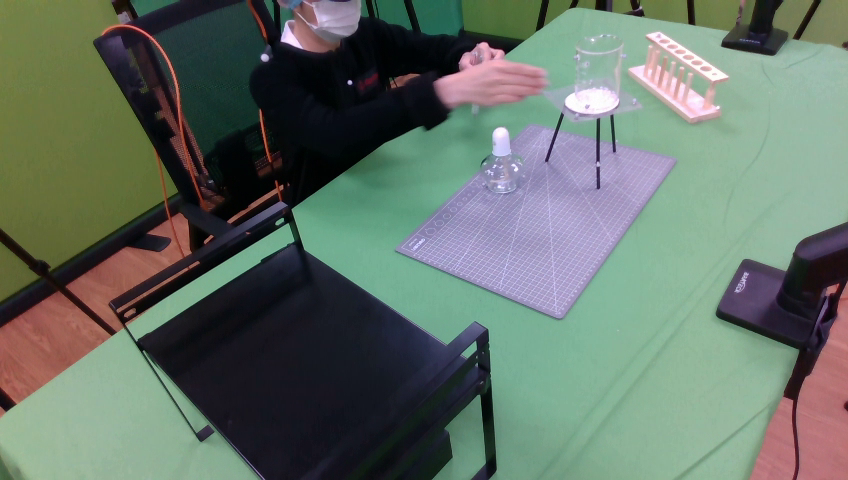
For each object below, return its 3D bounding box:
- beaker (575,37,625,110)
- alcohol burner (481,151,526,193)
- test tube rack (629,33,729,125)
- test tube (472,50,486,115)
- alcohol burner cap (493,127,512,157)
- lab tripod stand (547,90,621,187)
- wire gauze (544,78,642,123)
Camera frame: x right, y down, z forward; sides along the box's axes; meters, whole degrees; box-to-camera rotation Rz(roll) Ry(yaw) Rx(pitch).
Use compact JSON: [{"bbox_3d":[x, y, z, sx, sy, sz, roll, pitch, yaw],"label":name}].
[{"bbox_3d":[0.283,-0.271,0.988,0.074,0.101,0.083,-10,39,1],"label":"beaker"},{"bbox_3d":[0.138,-0.142,1.052,0.078,0.119,0.077,-5,42,5],"label":"alcohol burner"},{"bbox_3d":[0.516,-0.337,1.247,0.067,0.085,0.240,-14,41,-7],"label":"test tube rack"},{"bbox_3d":[0.105,-0.298,1.155,0.017,0.151,0.017,0,55,0],"label":"test tube"},{"bbox_3d":[0.132,-0.169,1.028,0.034,0.048,0.033,-6,31,4],"label":"alcohol burner cap"},{"bbox_3d":[0.289,-0.184,1.062,0.148,0.132,0.147,-6,41,6],"label":"lab tripod stand"},{"bbox_3d":[0.282,-0.234,1.021,0.125,0.011,0.120,-17,38,-4],"label":"wire gauze"}]
